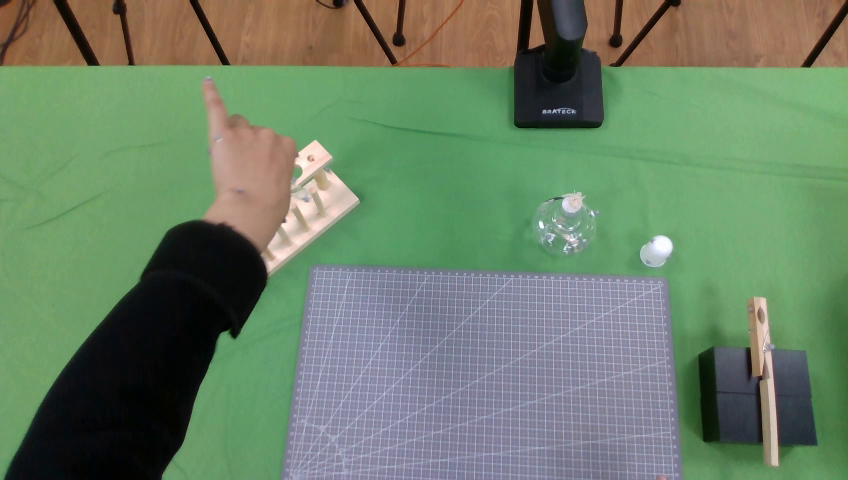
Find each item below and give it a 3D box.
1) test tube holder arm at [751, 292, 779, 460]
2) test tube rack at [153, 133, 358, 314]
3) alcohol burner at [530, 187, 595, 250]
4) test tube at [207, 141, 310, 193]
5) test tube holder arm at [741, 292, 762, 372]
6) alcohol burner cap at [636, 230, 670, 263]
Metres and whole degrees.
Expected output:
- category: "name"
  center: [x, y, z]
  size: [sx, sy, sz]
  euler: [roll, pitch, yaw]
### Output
- category: "test tube holder arm"
  center: [0.365, 0.144, 0.654]
  size: [0.013, 0.015, 0.177]
  euler: [3, 71, -3]
- category: "test tube rack"
  center: [-0.203, -0.020, 0.758]
  size: [0.242, 0.086, 0.066]
  euler: [-40, 72, -11]
- category: "alcohol burner"
  center: [0.169, -0.032, 0.728]
  size: [0.078, 0.120, 0.077]
  euler: [0, 69, 2]
- category: "test tube"
  center: [-0.168, -0.073, 0.630]
  size: [0.017, 0.151, 0.017]
  euler: [-4, 79, 24]
- category: "test tube holder arm"
  center: [0.362, 0.101, 0.668]
  size: [0.010, 0.015, 0.087]
  euler: [4, 71, -2]
- category: "alcohol burner cap"
  center: [0.284, 0.006, 0.746]
  size: [0.034, 0.048, 0.033]
  euler: [-1, 69, 3]
